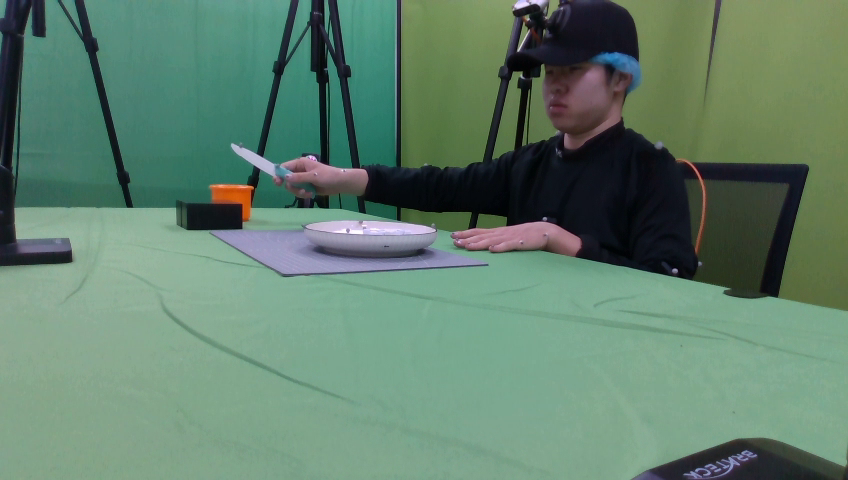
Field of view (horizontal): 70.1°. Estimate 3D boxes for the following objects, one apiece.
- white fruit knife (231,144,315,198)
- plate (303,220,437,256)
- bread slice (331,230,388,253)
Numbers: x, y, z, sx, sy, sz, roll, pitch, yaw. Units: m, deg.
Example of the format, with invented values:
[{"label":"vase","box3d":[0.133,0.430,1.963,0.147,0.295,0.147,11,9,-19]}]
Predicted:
[{"label":"white fruit knife","box3d":[-0.289,-0.136,1.179,0.016,0.027,0.208,10,-14,42]},{"label":"plate","box3d":[-0.084,-0.003,0.951,0.209,0.038,0.209,2,7,0]},{"label":"bread slice","box3d":[-0.088,0.000,0.947,0.105,0.019,0.131,-4,11,-44]}]
